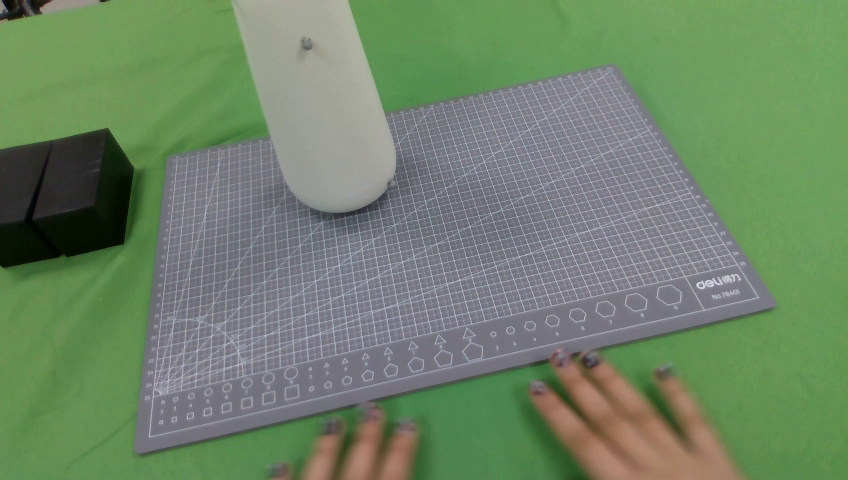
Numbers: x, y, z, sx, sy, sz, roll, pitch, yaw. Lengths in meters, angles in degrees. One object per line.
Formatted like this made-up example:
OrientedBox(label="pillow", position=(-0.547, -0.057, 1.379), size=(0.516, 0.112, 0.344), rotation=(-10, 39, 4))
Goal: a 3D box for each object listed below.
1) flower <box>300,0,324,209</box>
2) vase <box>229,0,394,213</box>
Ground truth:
OrientedBox(label="flower", position=(-0.081, -0.175, 0.406), size=(0.044, 0.364, 0.038), rotation=(13, 37, 14))
OrientedBox(label="vase", position=(-0.083, -0.113, 0.464), size=(0.098, 0.202, 0.097), rotation=(-5, 50, 6))
